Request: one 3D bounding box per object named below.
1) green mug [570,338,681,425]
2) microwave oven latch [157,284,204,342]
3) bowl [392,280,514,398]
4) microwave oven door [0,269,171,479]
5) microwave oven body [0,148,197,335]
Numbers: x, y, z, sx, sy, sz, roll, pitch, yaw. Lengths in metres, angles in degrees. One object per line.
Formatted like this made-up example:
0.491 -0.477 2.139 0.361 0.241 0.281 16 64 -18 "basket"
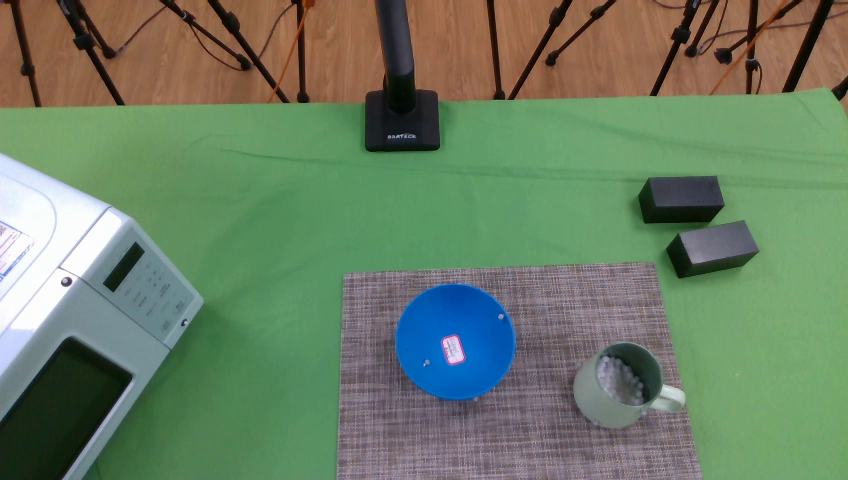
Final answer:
0.250 0.179 0.746 0.125 0.106 0.092 16 64 7 "green mug"
-0.326 0.093 0.804 0.030 0.030 0.079 26 67 11 "microwave oven latch"
0.036 0.135 0.780 0.151 0.077 0.150 0 63 0 "bowl"
-0.426 0.222 0.626 0.039 0.245 0.354 24 66 12 "microwave oven door"
-0.538 0.133 0.674 0.325 0.262 0.440 24 67 10 "microwave oven body"
